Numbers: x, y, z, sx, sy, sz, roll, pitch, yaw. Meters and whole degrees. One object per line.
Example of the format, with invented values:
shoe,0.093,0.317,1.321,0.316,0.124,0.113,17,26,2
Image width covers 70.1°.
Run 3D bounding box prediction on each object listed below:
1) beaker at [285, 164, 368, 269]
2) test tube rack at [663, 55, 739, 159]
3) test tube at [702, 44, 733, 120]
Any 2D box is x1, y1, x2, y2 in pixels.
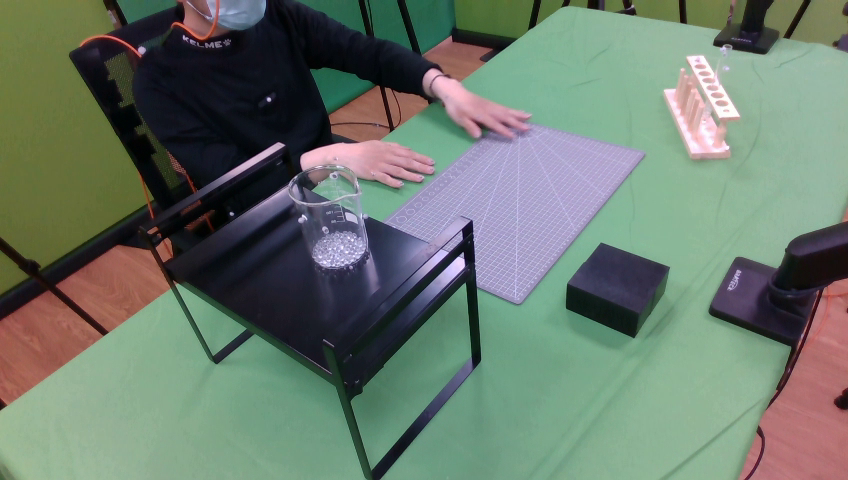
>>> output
beaker,-0.102,-0.024,0.676,0.083,0.101,0.074,8,43,17
test tube rack,0.517,-0.256,1.144,0.066,0.085,0.241,-1,41,8
test tube,0.530,-0.282,1.095,0.017,0.151,0.017,-2,45,3
